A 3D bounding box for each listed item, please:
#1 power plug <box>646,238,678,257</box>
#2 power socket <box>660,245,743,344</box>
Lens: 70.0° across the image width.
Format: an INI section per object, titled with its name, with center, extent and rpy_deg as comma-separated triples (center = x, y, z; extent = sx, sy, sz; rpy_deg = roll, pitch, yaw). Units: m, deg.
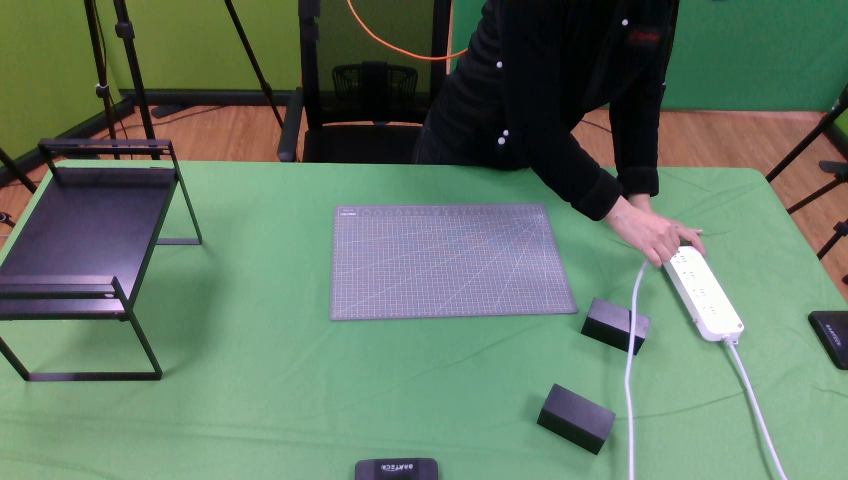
[power plug]
center = 0.436, 0.016, 1.126
extent = 0.072, 0.053, 0.035
rpy_deg = -8, 62, -3
[power socket]
center = 0.516, 0.094, 1.136
extent = 0.072, 0.033, 0.225
rpy_deg = -4, 47, -7
